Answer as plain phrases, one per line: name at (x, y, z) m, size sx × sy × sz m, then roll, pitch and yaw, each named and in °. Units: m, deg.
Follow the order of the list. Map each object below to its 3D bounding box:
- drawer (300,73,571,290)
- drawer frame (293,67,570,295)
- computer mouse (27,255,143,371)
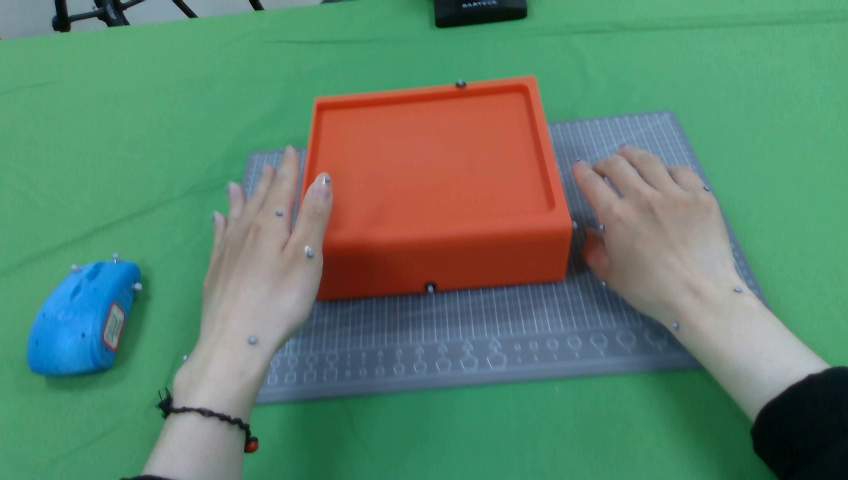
drawer at (0.009, -0.056, 0.538) m, size 0.212 × 0.074 × 0.192 m, roll -5°, pitch 50°, yaw 3°
drawer frame at (0.007, -0.056, 0.538) m, size 0.213 × 0.083 × 0.199 m, roll -6°, pitch 50°, yaw 3°
computer mouse at (-0.285, 0.056, 0.512) m, size 0.063 × 0.041 × 0.116 m, roll -6°, pitch 45°, yaw 4°
